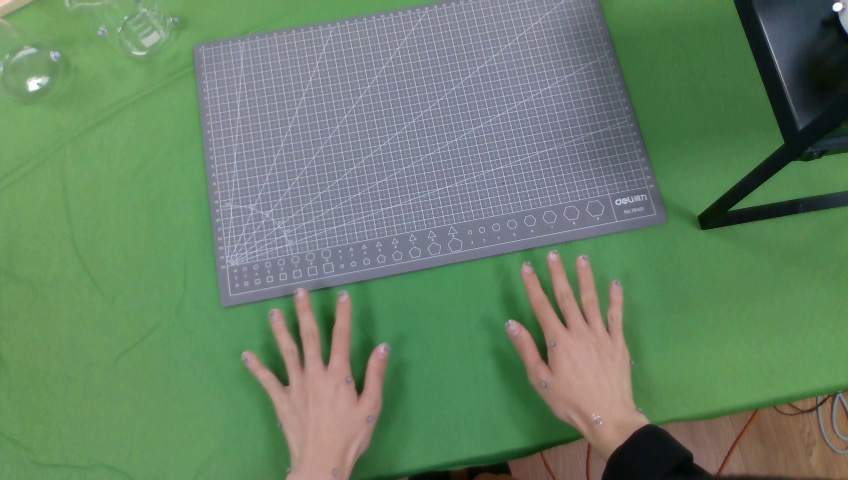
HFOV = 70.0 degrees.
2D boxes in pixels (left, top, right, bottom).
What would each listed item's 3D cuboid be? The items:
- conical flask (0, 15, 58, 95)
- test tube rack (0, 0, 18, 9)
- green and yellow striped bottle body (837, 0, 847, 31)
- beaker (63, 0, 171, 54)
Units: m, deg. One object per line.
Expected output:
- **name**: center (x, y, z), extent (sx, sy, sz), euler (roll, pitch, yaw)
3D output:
- **conical flask**: center (-0.436, -0.206, 0.606), extent (0.075, 0.122, 0.075), euler (0, 74, 1)
- **test tube rack**: center (-0.414, -0.348, 0.664), extent (0.242, 0.085, 0.066), euler (-30, 76, -7)
- **green and yellow striped bottle body**: center (0.346, -0.190, 0.408), extent (0.063, 0.120, 0.063), euler (0, 74, 1)
- **beaker**: center (-0.317, -0.247, 0.628), extent (0.073, 0.101, 0.084), euler (35, 78, 11)
